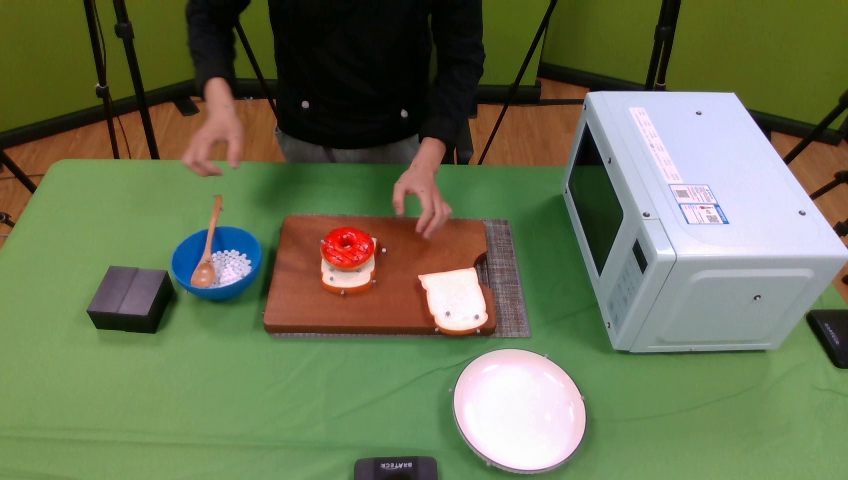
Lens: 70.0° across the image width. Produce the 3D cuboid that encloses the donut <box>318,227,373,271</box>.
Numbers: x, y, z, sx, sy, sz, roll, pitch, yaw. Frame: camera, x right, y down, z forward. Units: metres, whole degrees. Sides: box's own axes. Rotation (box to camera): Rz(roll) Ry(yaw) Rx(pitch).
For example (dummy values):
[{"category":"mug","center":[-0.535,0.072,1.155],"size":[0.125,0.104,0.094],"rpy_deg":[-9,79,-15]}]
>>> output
[{"category":"donut","center":[-0.142,0.017,1.096],"size":[0.099,0.048,0.098],"rpy_deg":[3,45,-2]}]

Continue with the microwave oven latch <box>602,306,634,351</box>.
[{"category":"microwave oven latch","center":[0.332,0.153,1.044],"size":[0.030,0.029,0.078],"rpy_deg":[0,45,-4]}]

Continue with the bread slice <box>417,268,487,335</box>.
[{"category":"bread slice","center":[0.055,0.107,1.063],"size":[0.107,0.018,0.133],"rpy_deg":[-9,48,-12]}]

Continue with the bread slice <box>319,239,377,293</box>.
[{"category":"bread slice","center":[-0.140,0.044,1.111],"size":[0.105,0.019,0.130],"rpy_deg":[0,44,-3]}]

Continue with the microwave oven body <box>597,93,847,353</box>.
[{"category":"microwave oven body","center":[0.475,-0.041,1.109],"size":[0.326,0.261,0.438],"rpy_deg":[-1,45,-4]}]

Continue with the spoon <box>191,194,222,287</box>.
[{"category":"spoon","center":[-0.383,0.000,1.088],"size":[0.041,0.022,0.193],"rpy_deg":[0,66,5]}]

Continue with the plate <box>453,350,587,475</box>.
[{"category":"plate","center":[0.147,0.267,0.943],"size":[0.208,0.039,0.206],"rpy_deg":[2,46,-2]}]

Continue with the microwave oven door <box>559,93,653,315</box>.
[{"category":"microwave oven door","center":[0.327,-0.074,1.123],"size":[0.039,0.245,0.353],"rpy_deg":[-1,46,-5]}]

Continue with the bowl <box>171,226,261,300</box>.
[{"category":"bowl","center":[-0.363,0.054,1.081],"size":[0.151,0.077,0.150],"rpy_deg":[3,45,-3]}]
